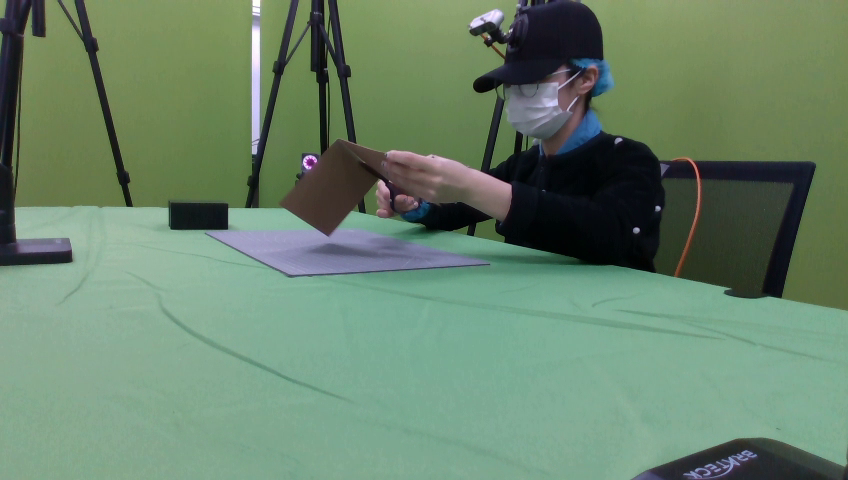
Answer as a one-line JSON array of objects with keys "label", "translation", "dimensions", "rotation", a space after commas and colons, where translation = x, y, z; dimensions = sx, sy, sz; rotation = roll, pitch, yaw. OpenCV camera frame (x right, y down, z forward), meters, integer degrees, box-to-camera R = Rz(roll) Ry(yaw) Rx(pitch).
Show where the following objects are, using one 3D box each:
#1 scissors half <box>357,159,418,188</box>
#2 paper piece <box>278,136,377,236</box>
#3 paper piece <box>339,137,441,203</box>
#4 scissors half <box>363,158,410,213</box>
[{"label": "scissors half", "translation": [-0.060, -0.118, 1.034], "dimensions": [0.013, 0.040, 0.176], "rotation": [9, 1, 32]}, {"label": "paper piece", "translation": [-0.147, -0.081, 0.960], "dimensions": [0.004, 0.135, 0.136], "rotation": [40, 1, 34]}, {"label": "paper piece", "translation": [-0.051, -0.107, 0.921], "dimensions": [0.137, 0.008, 0.137], "rotation": [27, -5, 34]}, {"label": "scissors half", "translation": [-0.068, -0.098, 1.030], "dimensions": [0.012, 0.040, 0.176], "rotation": [15, -23, 33]}]
